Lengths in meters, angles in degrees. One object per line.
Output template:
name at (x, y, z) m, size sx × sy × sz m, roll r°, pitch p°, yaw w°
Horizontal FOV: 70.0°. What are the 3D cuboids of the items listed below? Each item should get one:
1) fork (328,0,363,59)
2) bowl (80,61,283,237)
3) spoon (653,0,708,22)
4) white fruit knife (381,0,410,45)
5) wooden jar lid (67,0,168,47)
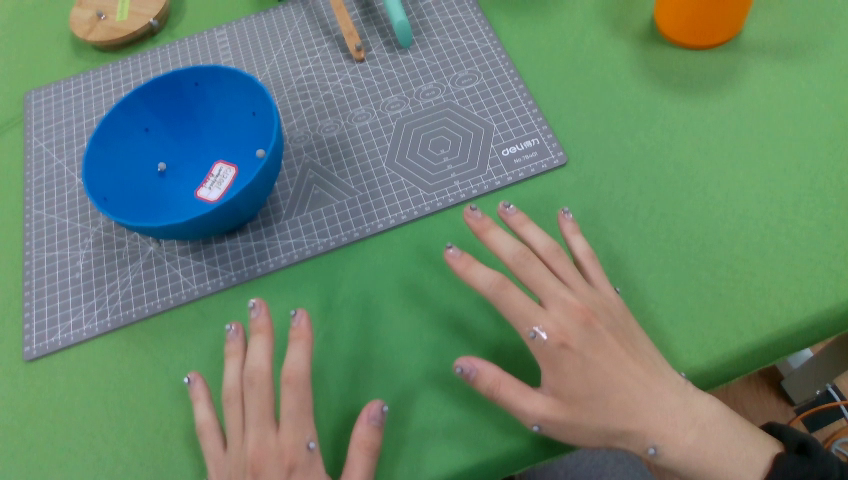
fork at (-0.101, -0.263, 0.578) m, size 0.028 × 0.019 × 0.206 m, roll -22°, pitch 79°, yaw -10°
bowl at (-0.175, -0.058, 0.478) m, size 0.151 × 0.077 × 0.150 m, roll -4°, pitch 61°, yaw 7°
spoon at (0.267, -0.245, 0.477) m, size 0.022 × 0.194 × 0.041 m, roll 11°, pitch 53°, yaw -37°
white fruit knife at (-0.054, -0.279, 0.581) m, size 0.016 × 0.027 × 0.206 m, roll -21°, pitch 74°, yaw -4°
wooden jar lid at (-0.319, -0.244, 0.637) m, size 0.108 × 0.021 × 0.107 m, roll -3°, pitch 61°, yaw 5°
